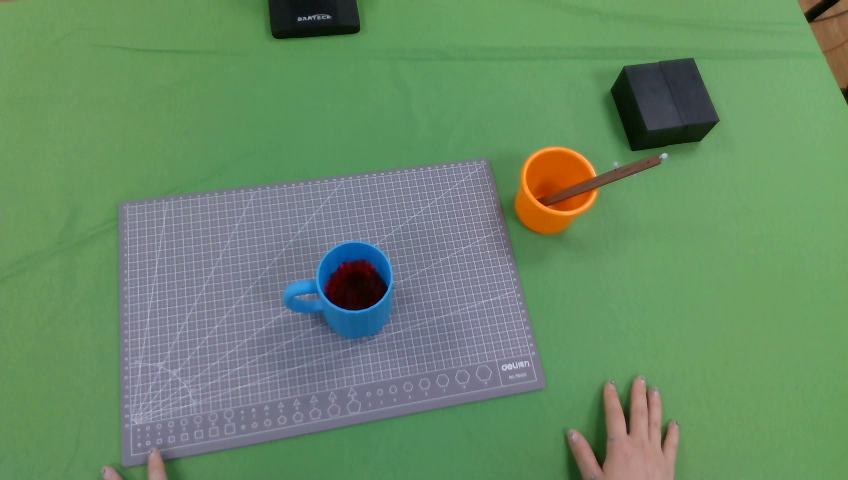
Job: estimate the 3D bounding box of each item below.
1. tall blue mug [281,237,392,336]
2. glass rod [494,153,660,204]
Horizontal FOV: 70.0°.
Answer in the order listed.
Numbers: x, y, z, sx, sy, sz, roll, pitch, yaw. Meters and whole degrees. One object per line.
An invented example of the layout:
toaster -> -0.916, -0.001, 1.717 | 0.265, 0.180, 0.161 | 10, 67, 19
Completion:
tall blue mug -> -0.087, 0.059, 0.639 | 0.107, 0.108, 0.077 | -31, 75, -16
glass rod -> 0.172, -0.069, 0.704 | 0.199, 0.008, 0.008 | -15, 64, 30
